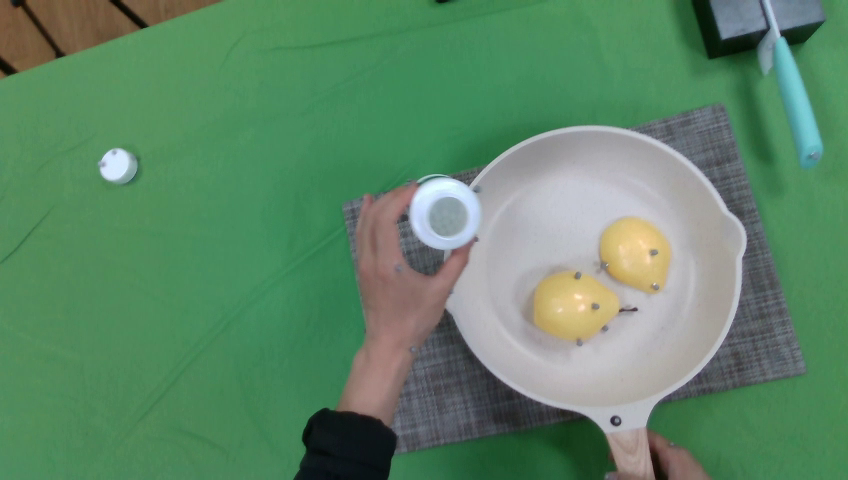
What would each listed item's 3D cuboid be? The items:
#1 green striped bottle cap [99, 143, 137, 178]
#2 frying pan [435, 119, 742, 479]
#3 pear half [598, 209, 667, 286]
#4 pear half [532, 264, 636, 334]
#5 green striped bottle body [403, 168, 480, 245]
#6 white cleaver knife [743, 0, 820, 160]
[{"bbox_3d":[-0.397,-0.103,0.786,0.044,0.020,0.044,-1,83,11],"label":"green striped bottle cap"},{"bbox_3d":[0.181,0.120,0.610,0.306,0.103,0.484,-12,73,10],"label":"frying pan"},{"bbox_3d":[0.226,0.008,0.650,0.070,0.031,0.087,-30,76,11],"label":"pear half"},{"bbox_3d":[0.170,0.063,0.642,0.110,0.056,0.076,-2,88,7],"label":"pear half"},{"bbox_3d":[0.015,-0.031,0.550,0.063,0.118,0.063,-1,100,-5],"label":"green striped bottle body"},{"bbox_3d":[0.363,-0.220,0.638,0.021,0.066,0.285,-12,80,13],"label":"white cleaver knife"}]
